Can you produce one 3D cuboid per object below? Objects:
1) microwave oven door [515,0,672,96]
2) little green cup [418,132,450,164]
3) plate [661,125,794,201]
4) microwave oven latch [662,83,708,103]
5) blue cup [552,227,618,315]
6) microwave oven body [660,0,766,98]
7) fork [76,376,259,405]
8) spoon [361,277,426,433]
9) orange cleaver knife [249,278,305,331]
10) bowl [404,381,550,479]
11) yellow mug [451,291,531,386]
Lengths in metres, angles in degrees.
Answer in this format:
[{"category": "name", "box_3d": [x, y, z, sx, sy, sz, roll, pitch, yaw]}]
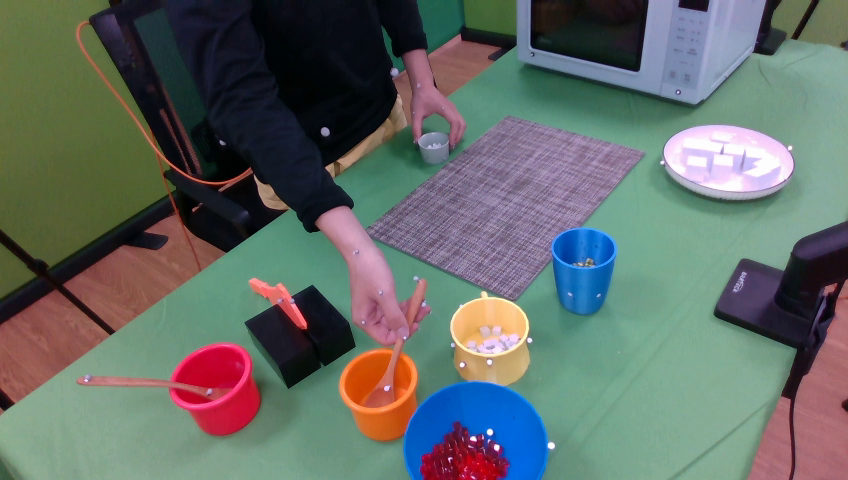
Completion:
[{"category": "microwave oven door", "box_3d": [0.344, -0.455, 1.259, 0.353, 0.245, 0.039, 26, 51, 33]}, {"category": "little green cup", "box_3d": [0.020, -0.177, 1.169, 0.061, 0.039, 0.061, -2, 39, 2]}, {"category": "plate", "box_3d": [0.513, -0.128, 1.035, 0.207, 0.039, 0.206, -4, 40, 4]}, {"category": "microwave oven latch", "box_3d": [0.518, -0.297, 1.204, 0.078, 0.029, 0.030, 29, 53, 36]}, {"category": "blue cup", "box_3d": [0.218, 0.047, 0.825, 0.092, 0.101, 0.092, -6, 39, 5]}, {"category": "microwave oven body", "box_3d": [0.473, -0.513, 1.317, 0.438, 0.261, 0.327, 26, 51, 34]}, {"category": "fork", "box_3d": [-0.295, 0.176, 0.716, 0.209, 0.018, 0.028, 20, 26, -36]}, {"category": "spoon", "box_3d": [-0.031, 0.136, 0.716, 0.041, 0.193, 0.022, 21, 6, 26]}, {"category": "orange cleaver knife", "box_3d": [-0.210, 0.088, 0.855, 0.012, 0.077, 0.210, -28, 15, -25]}, {"category": "bowl", "box_3d": [0.058, 0.235, 0.645, 0.151, 0.077, 0.150, -4, 39, 4]}, {"category": "yellow mug", "box_3d": [0.085, 0.120, 0.786, 0.100, 0.064, 0.130, -7, 39, 1]}]
